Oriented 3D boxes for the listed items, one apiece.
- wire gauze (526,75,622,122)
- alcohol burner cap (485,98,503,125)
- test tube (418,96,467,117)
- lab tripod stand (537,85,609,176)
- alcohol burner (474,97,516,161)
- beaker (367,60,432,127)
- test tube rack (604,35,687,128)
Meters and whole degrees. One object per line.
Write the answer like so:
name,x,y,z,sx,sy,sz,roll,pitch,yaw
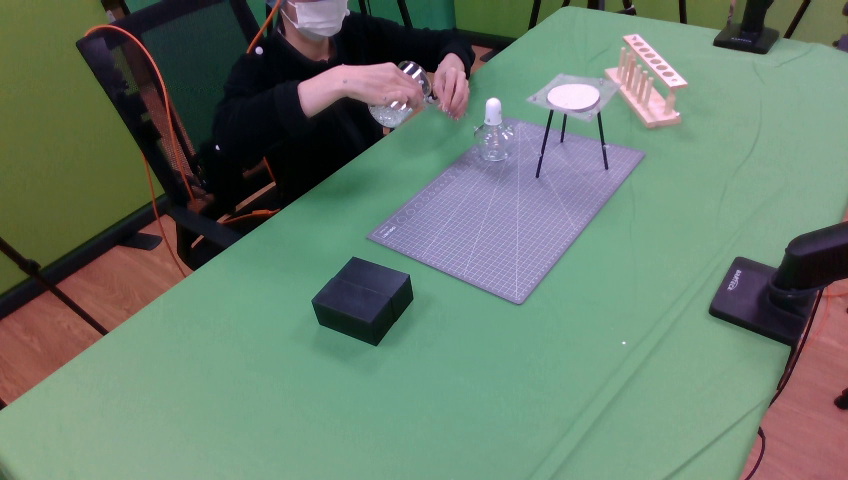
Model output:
wire gauze,0.255,-0.248,1.030,0.124,0.011,0.122,24,51,32
alcohol burner cap,0.126,-0.234,1.097,0.034,0.048,0.033,-3,39,3
test tube,0.038,-0.253,1.149,0.017,0.017,0.151,27,15,33
lab tripod stand,0.259,-0.192,1.068,0.148,0.132,0.147,-4,42,4
alcohol burner,0.131,-0.208,1.121,0.078,0.119,0.077,-6,40,5
beaker,-0.043,-0.247,1.042,0.073,0.084,0.100,16,54,36
test tube rack,0.447,-0.330,1.241,0.067,0.085,0.241,-9,41,-2
